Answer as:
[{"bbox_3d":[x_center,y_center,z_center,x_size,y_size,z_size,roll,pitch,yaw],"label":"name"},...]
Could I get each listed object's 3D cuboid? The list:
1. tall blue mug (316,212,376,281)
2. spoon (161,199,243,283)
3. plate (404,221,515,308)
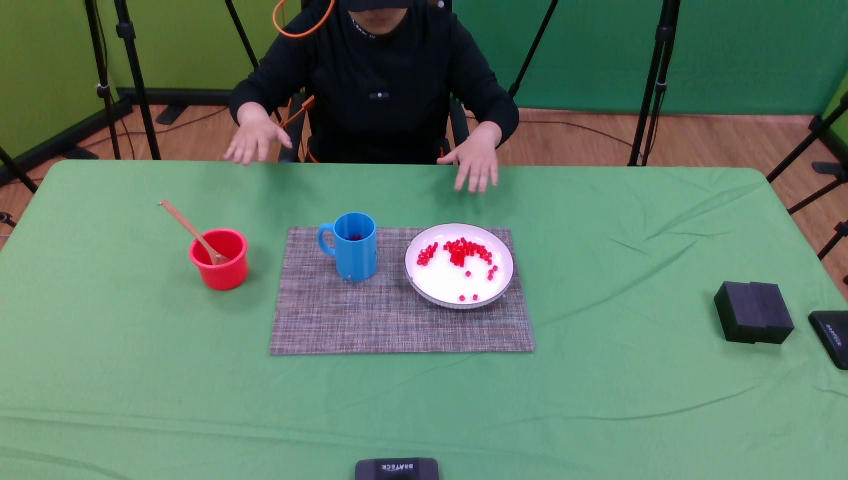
[{"bbox_3d":[-0.142,0.014,1.109,0.107,0.108,0.077,-5,47,-8],"label":"tall blue mug"},{"bbox_3d":[-0.397,0.001,1.083,0.194,0.021,0.041,53,56,-15],"label":"spoon"},{"bbox_3d":[0.065,0.049,1.140,0.208,0.039,0.206,2,46,-2],"label":"plate"}]
